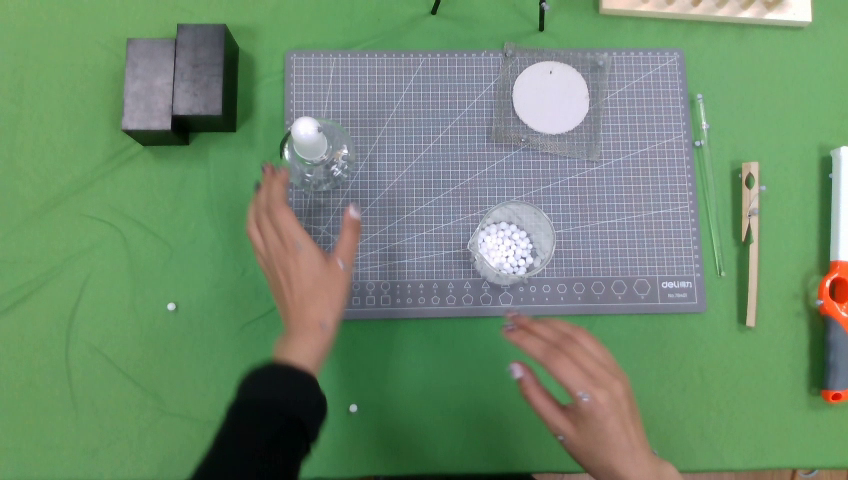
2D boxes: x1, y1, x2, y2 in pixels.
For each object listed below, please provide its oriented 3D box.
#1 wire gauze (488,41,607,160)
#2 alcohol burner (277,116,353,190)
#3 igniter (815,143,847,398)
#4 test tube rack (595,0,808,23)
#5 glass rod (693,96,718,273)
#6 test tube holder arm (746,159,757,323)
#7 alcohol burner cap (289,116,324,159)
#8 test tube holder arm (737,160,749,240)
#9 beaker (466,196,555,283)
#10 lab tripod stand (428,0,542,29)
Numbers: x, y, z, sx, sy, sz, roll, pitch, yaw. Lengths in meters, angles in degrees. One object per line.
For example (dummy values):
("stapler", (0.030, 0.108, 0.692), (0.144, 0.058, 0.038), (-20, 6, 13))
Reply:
("wire gauze", (0.139, -0.159, 0.677), (0.125, 0.011, 0.121), (10, 82, -1))
("alcohol burner", (-0.112, -0.092, 0.606), (0.078, 0.119, 0.077), (0, 80, 1))
("igniter", (0.447, 0.031, 0.650), (0.057, 0.025, 0.275), (9, 81, -10))
("test tube rack", (0.321, -0.296, 0.666), (0.242, 0.085, 0.066), (3, 81, -1))
("glass rod", (0.312, -0.062, 0.670), (0.008, 0.008, 0.199), (-3, 84, -2))
("test tube holder arm", (0.353, 0.000, 0.655), (0.013, 0.015, 0.178), (-3, 80, 33))
("alcohol burner cap", (-0.112, -0.100, 0.571), (0.034, 0.048, 0.033), (1, 77, -5))
("test tube holder arm", (0.351, -0.044, 0.664), (0.010, 0.015, 0.087), (-3, 80, 34))
("beaker", (0.080, 0.005, 0.605), (0.084, 0.100, 0.073), (-9, 81, -2))
("lab tripod stand", (0.075, -0.295, 0.635), (0.148, 0.132, 0.148), (0, 83, -1))
